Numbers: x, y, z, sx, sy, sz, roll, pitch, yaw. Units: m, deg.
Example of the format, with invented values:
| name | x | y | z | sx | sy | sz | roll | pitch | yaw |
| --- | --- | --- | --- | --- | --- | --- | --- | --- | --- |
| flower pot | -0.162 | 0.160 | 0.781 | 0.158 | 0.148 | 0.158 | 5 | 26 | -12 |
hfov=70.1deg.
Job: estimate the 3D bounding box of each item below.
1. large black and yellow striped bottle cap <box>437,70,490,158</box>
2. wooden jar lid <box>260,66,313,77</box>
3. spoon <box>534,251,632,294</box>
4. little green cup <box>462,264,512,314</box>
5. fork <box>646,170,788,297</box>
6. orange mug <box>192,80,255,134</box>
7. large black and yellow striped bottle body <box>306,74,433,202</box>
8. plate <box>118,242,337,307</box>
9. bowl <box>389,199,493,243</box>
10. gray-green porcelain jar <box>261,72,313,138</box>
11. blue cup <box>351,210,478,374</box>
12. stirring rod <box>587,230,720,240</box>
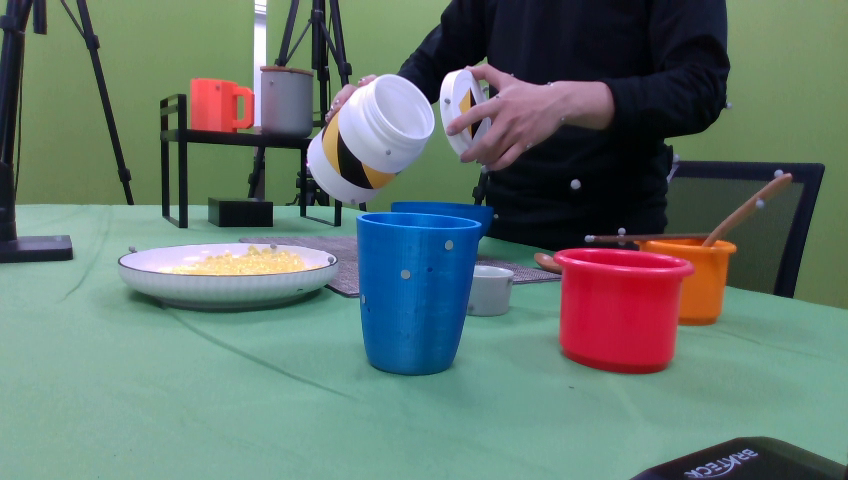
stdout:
| name | x | y | z | sx | sy | sz | roll | pitch | yaw |
| --- | --- | --- | --- | --- | --- | --- | --- | --- | --- |
| large black and yellow striped bottle cap | 0.054 | -0.166 | 0.798 | 0.018 | 0.115 | 0.115 | -7 | 1 | 33 |
| wooden jar lid | -0.283 | -0.339 | 1.244 | 0.108 | 0.020 | 0.108 | 5 | 8 | 0 |
| spoon | 0.194 | 0.038 | 0.753 | 0.042 | 0.021 | 0.193 | 14 | 2 | -20 |
| little green cup | 0.053 | 0.047 | 0.580 | 0.061 | 0.038 | 0.061 | 3 | 8 | 0 |
| fork | 0.256 | 0.004 | 0.543 | 0.028 | 0.018 | 0.207 | 3 | -36 | -10 |
| orange mug | -0.389 | -0.257 | 1.173 | 0.126 | 0.100 | 0.083 | -1 | 7 | 9 |
| large black and yellow striped bottle body | -0.083 | -0.153 | 0.917 | 0.131 | 0.130 | 0.183 | -4 | -22 | -42 |
| plate | -0.194 | 0.033 | 0.615 | 0.209 | 0.038 | 0.209 | 2 | 7 | 0 |
| bowl | 0.023 | -0.015 | 0.872 | 0.151 | 0.077 | 0.151 | 3 | 7 | 0 |
| gray-green porcelain jar | -0.284 | -0.276 | 1.253 | 0.106 | 0.126 | 0.106 | 2 | 8 | 0 |
| blue cup | -0.009 | 0.034 | 0.414 | 0.093 | 0.100 | 0.092 | 4 | 8 | 0 |
| stirring rod | 0.226 | -0.005 | 0.587 | 0.177 | 0.006 | 0.014 | -2 | 9 | -29 |
